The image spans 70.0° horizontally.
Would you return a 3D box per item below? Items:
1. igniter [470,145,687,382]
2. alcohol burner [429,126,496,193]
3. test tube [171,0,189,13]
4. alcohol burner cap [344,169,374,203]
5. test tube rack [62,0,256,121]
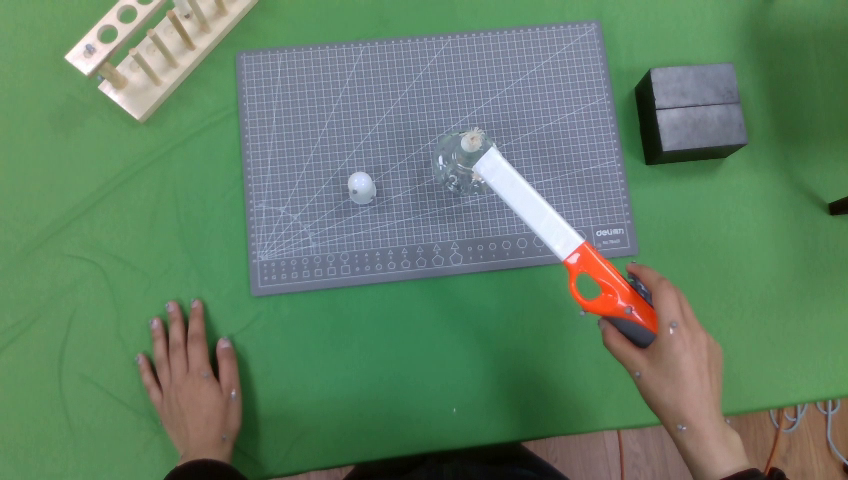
[{"bbox_3d":[0.145,0.018,0.571,0.057,0.025,0.275,-45,79,19],"label":"igniter"},{"bbox_3d":[0.045,-0.094,0.665,0.078,0.119,0.077,1,78,-3],"label":"alcohol burner"},{"bbox_3d":[-0.286,-0.296,0.654,0.017,0.151,0.017,0,75,-1],"label":"test tube"},{"bbox_3d":[-0.075,-0.064,0.691,0.034,0.048,0.033,0,79,0],"label":"alcohol burner cap"},{"bbox_3d":[-0.284,-0.260,0.697,0.066,0.085,0.242,38,81,5],"label":"test tube rack"}]
